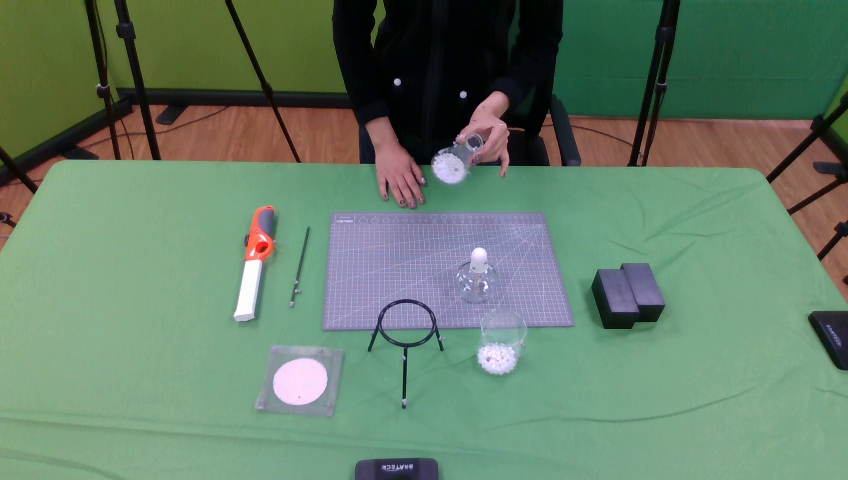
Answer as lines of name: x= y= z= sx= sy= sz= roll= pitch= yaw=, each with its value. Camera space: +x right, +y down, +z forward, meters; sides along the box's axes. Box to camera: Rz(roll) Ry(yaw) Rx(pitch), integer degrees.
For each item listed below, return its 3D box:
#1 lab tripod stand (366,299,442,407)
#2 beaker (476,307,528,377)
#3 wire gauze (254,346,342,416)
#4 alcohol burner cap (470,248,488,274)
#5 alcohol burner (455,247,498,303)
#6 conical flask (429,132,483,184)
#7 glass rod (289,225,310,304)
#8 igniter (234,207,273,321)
lab tripod stand: x=-0.028 y=0.165 z=0.960 sx=0.148 sy=0.132 sz=0.147 roll=3 pitch=44 yaw=-2
beaker: x=0.122 y=0.171 z=0.991 sx=0.084 sy=0.101 sz=0.073 roll=-34 pitch=56 yaw=-31
wire gauze: x=-0.201 y=0.223 z=0.978 sx=0.125 sy=0.011 sz=0.121 roll=4 pitch=45 yaw=1
alcohol burner cap: x=0.095 y=0.034 z=1.057 sx=0.034 sy=0.048 sz=0.033 roll=-3 pitch=52 yaw=4
alcohol burner: x=0.095 y=0.057 z=1.084 sx=0.078 sy=0.120 sz=0.077 roll=1 pitch=47 yaw=-1
conical flask: x=0.065 y=-0.159 z=1.136 sx=0.075 sy=0.122 sz=0.075 roll=8 pitch=69 yaw=-22
glass rod: x=-0.235 y=0.043 z=1.150 sx=0.008 sy=0.008 sz=0.198 roll=3 pitch=46 yaw=-1
igniter: x=-0.319 y=0.035 z=1.137 sx=0.057 sy=0.025 sz=0.274 roll=-7 pitch=46 yaw=3
